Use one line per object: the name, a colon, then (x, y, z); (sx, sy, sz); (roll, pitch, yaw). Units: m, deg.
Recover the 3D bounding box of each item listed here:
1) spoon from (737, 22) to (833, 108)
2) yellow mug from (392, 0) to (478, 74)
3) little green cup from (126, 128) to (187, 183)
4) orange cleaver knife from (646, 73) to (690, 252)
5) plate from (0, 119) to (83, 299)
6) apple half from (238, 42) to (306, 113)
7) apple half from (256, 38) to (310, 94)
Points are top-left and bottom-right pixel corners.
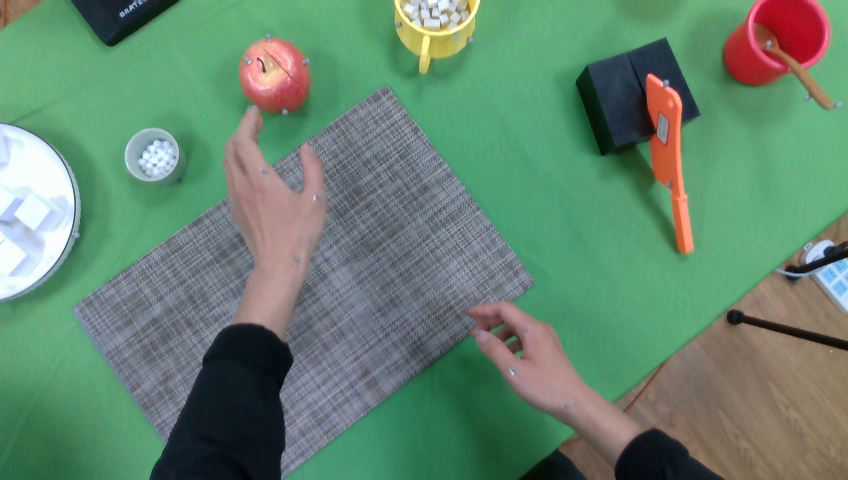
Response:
spoon: (0.408, -0.203, 0.687); (0.041, 0.022, 0.192); (-2, 40, -1)
yellow mug: (0.009, -0.262, 0.718); (0.100, 0.064, 0.130); (11, 85, -1)
little green cup: (-0.309, -0.096, 0.706); (0.061, 0.038, 0.061); (0, 84, -1)
orange cleaver knife: (0.281, -0.087, 0.703); (0.012, 0.076, 0.213); (-17, 115, 0)
plate: (-0.493, -0.033, 0.694); (0.208, 0.039, 0.207); (0, 84, -2)
apple half: (-0.182, -0.178, 0.701); (0.081, 0.074, 0.053); (45, 89, -1)
apple half: (-0.155, -0.207, 0.704); (0.081, 0.081, 0.033); (44, 89, 3)
